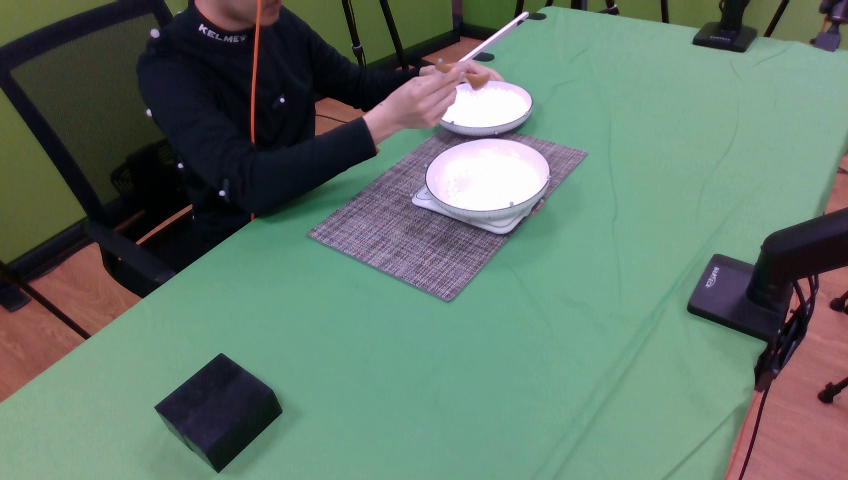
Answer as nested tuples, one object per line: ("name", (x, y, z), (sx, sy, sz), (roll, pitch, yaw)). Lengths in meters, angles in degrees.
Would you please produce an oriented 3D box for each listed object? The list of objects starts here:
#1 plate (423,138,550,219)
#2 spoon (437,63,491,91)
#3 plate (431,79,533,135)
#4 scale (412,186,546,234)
("plate", (0.104, -0.099, 1.005), (0.207, 0.039, 0.206), (-4, 41, 4))
("spoon", (0.070, -0.287, 1.053), (0.021, 0.041, 0.195), (54, 27, 19))
("plate", (0.120, -0.271, 1.249), (0.209, 0.038, 0.208), (-4, 40, 4))
("scale", (0.093, -0.083, 1.038), (0.199, 0.032, 0.149), (22, 49, 30))
